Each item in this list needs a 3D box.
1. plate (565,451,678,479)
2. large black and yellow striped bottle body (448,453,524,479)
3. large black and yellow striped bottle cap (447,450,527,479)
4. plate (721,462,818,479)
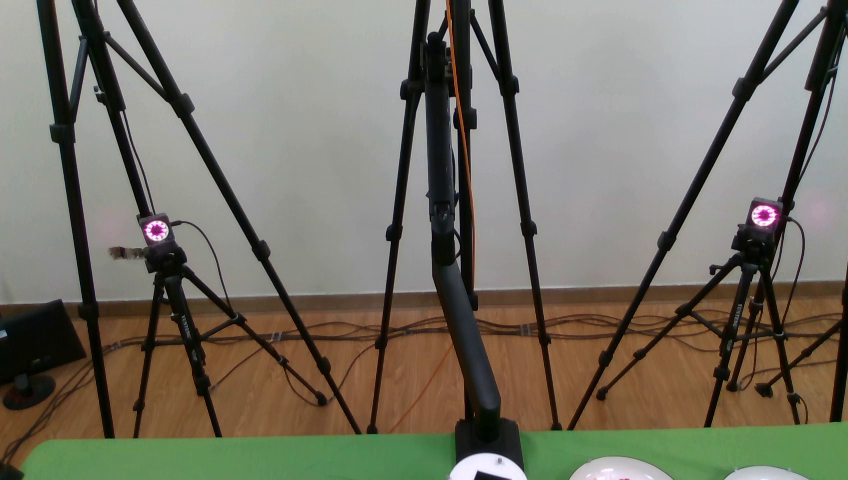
[{"bbox_3d":[0.327,0.438,0.979,0.209,0.038,0.207,-2,33,2],"label":"plate"},{"bbox_3d":[0.091,0.417,0.893,0.131,0.185,0.129,-2,33,2],"label":"large black and yellow striped bottle body"},{"bbox_3d":[0.089,0.346,0.848,0.115,0.019,0.114,-2,34,1],"label":"large black and yellow striped bottle cap"},{"bbox_3d":[0.566,0.445,0.948,0.207,0.039,0.206,-2,32,2],"label":"plate"}]
